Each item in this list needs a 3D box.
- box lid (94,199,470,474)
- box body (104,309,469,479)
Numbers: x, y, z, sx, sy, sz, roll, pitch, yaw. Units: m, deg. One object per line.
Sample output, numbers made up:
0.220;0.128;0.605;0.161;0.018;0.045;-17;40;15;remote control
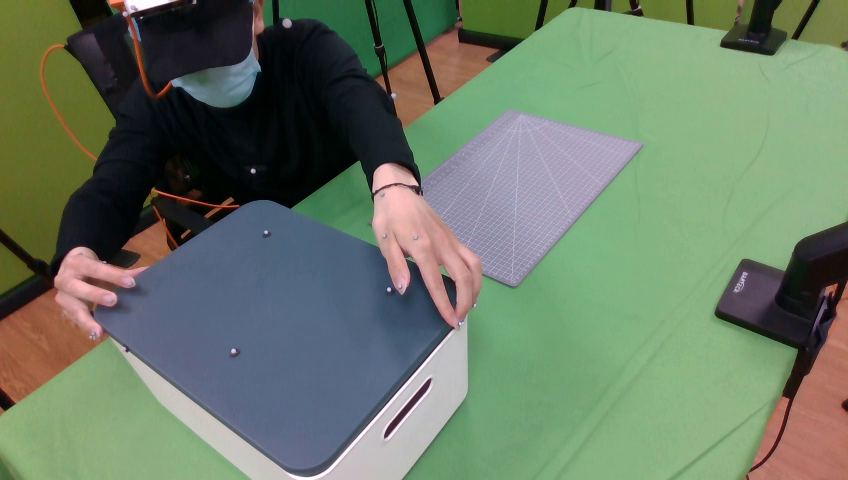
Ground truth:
-0.164;0.072;0.672;0.368;0.015;0.264;22;48;30;box lid
-0.151;0.140;0.721;0.361;0.161;0.255;22;49;30;box body
